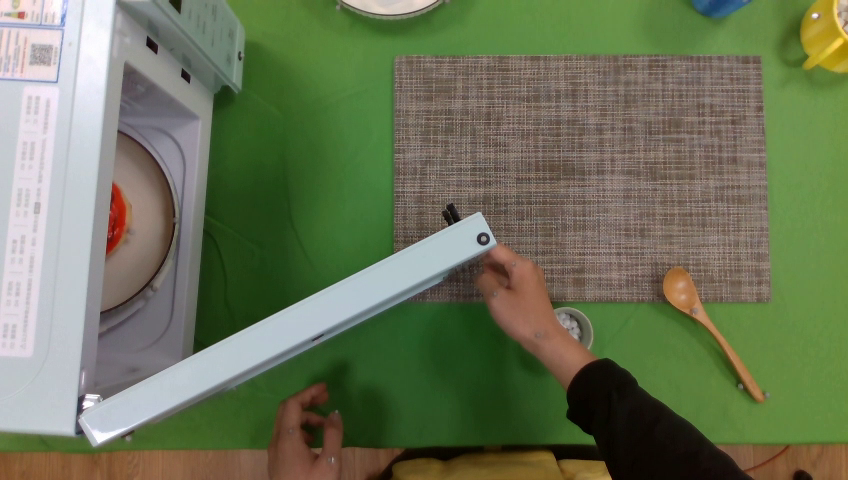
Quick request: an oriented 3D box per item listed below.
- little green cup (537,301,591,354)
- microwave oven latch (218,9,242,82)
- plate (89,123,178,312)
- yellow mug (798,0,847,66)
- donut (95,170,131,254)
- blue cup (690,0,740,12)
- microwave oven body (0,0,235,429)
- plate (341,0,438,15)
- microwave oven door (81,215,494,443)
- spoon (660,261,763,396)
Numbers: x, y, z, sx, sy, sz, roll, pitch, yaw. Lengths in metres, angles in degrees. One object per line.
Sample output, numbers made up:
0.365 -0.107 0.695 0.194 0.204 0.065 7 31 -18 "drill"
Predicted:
0.160 0.101 0.705 0.061 0.039 0.061 0 83 1 "little green cup"
-0.232 -0.228 0.710 0.030 0.029 0.079 5 87 0 "microwave oven latch"
-0.368 -0.025 0.653 0.209 0.038 0.208 0 87 -1 "plate"
0.498 -0.255 0.713 0.131 0.064 0.100 -42 87 -1 "yellow mug"
-0.364 -0.030 0.644 0.099 0.048 0.099 0 88 2 "donut"
0.354 -0.314 0.700 0.092 0.100 0.092 0 88 0 "blue cup"
-0.390 -0.066 0.605 0.326 0.260 0.441 3 87 0 "microwave oven body"
-0.041 -0.370 0.737 0.208 0.039 0.207 0 86 0 "plate"
-0.104 0.076 0.589 0.356 0.244 0.039 -27 85 -1 "microwave oven door"
0.339 0.106 0.710 0.041 0.021 0.193 -36 88 -18 "spoon"
